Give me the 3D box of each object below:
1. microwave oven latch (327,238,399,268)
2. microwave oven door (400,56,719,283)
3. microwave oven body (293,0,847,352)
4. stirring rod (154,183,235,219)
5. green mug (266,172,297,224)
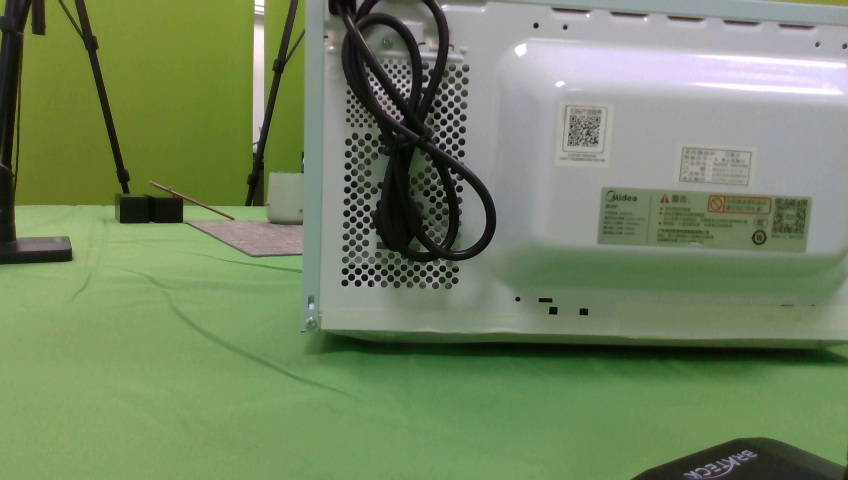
[{"bbox_3d":[-0.069,0.015,0.694,0.079,0.029,0.030,3,7,-3],"label":"microwave oven latch"},{"bbox_3d":[0.155,-0.077,0.697,0.356,0.243,0.039,2,8,-5],"label":"microwave oven door"},{"bbox_3d":[0.122,-0.055,0.550,0.442,0.260,0.325,3,7,-5],"label":"microwave oven body"},{"bbox_3d":[-0.472,-0.079,1.252,0.177,0.006,0.014,27,4,-35],"label":"stirring rod"},{"bbox_3d":[-0.272,-0.089,1.271,0.092,0.105,0.126,7,8,33],"label":"green mug"}]
